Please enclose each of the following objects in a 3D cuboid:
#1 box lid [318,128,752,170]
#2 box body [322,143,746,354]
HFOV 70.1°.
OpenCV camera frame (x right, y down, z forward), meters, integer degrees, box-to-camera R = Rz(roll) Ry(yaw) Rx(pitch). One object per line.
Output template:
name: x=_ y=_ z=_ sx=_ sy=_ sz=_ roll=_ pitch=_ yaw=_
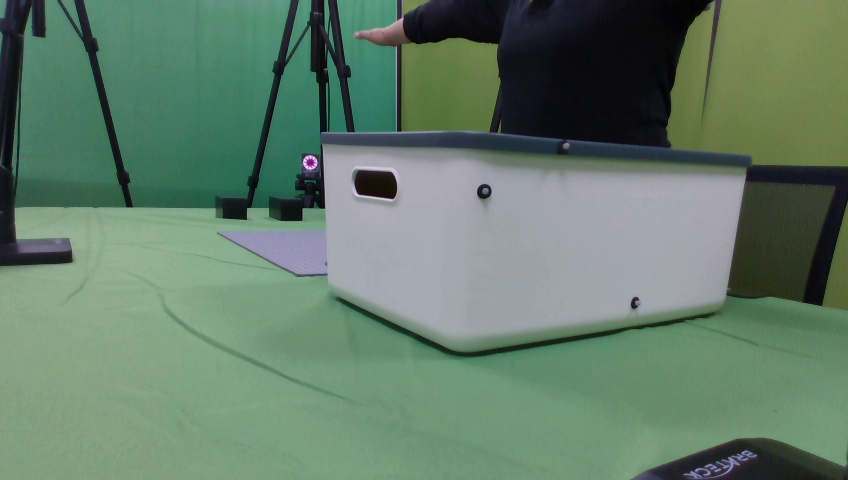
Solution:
box lid: x=0.107 y=-0.085 z=0.594 sx=0.373 sy=0.015 sz=0.262 roll=-1 pitch=8 yaw=-34
box body: x=0.106 y=-0.011 z=0.603 sx=0.366 sy=0.160 sz=0.253 roll=-2 pitch=8 yaw=-34
